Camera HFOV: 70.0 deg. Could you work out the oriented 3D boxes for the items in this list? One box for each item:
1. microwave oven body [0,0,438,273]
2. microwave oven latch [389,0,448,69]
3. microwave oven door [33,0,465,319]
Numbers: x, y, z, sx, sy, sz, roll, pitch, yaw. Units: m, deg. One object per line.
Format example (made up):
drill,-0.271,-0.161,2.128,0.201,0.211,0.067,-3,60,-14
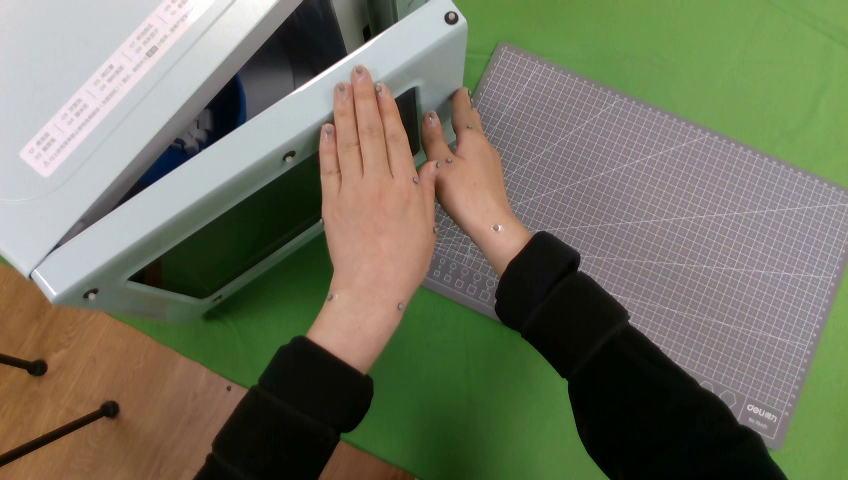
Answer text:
microwave oven body,-0.235,-0.206,0.577,0.325,0.261,0.441,39,83,6
microwave oven latch,-0.006,-0.232,0.677,0.030,0.029,0.079,41,84,7
microwave oven door,-0.119,-0.051,0.544,0.356,0.244,0.039,-35,81,-5
